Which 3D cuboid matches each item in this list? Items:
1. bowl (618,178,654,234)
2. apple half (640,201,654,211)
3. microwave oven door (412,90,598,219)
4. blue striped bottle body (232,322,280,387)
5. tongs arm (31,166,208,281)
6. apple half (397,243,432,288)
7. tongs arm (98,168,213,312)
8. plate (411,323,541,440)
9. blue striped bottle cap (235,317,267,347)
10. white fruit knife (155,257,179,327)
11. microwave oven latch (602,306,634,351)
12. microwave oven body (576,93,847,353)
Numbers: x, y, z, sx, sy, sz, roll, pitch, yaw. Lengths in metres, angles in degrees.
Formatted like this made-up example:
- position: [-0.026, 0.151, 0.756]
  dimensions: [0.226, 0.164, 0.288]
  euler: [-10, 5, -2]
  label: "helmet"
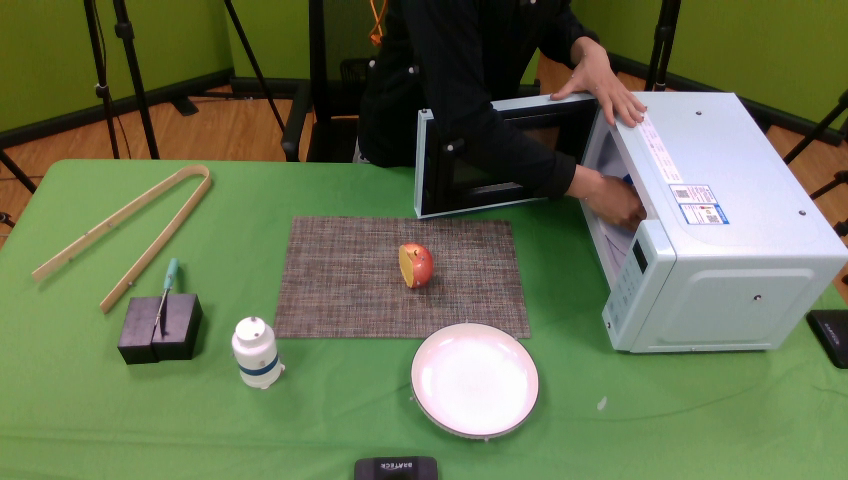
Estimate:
- position: [0.437, -0.049, 1.165]
  dimensions: [0.151, 0.077, 0.150]
  euler: [9, 32, -5]
  label: "bowl"
- position: [0.440, -0.057, 1.157]
  dimensions: [0.081, 0.033, 0.081]
  euler: [-5, 34, 4]
  label: "apple half"
- position: [0.155, -0.167, 1.200]
  dimensions: [0.356, 0.245, 0.039]
  euler: [-10, 47, -14]
  label: "microwave oven door"
- position: [-0.262, 0.172, 0.944]
  dimensions: [0.063, 0.121, 0.062]
  euler: [2, 46, -2]
  label: "blue striped bottle body"
- position: [-0.577, -0.040, 1.184]
  dimensions: [0.050, 0.026, 0.384]
  euler: [22, 47, 18]
  label: "tongs arm"
- position: [-0.013, 0.047, 1.115]
  dimensions: [0.053, 0.075, 0.080]
  euler: [-10, 44, -21]
  label: "apple half"
- position: [-0.503, -0.013, 1.166]
  dimensions: [0.028, 0.028, 0.385]
  euler: [10, 45, 12]
  label: "tongs arm"
- position: [0.082, 0.228, 0.976]
  dimensions: [0.208, 0.039, 0.206]
  euler: [2, 46, -2]
  label: "plate"
- position: [-0.259, 0.137, 0.907]
  dimensions: [0.044, 0.021, 0.044]
  euler: [2, 43, -2]
  label: "blue striped bottle cap"
- position: [-0.440, 0.085, 1.037]
  dimensions: [0.016, 0.027, 0.206]
  euler: [10, 26, -19]
  label: "white fruit knife"
- position: [0.332, 0.153, 1.044]
  dimensions: [0.030, 0.029, 0.078]
  euler: [0, 45, -4]
  label: "microwave oven latch"
- position: [0.476, -0.041, 1.109]
  dimensions: [0.326, 0.261, 0.438]
  euler: [-1, 45, -4]
  label: "microwave oven body"
